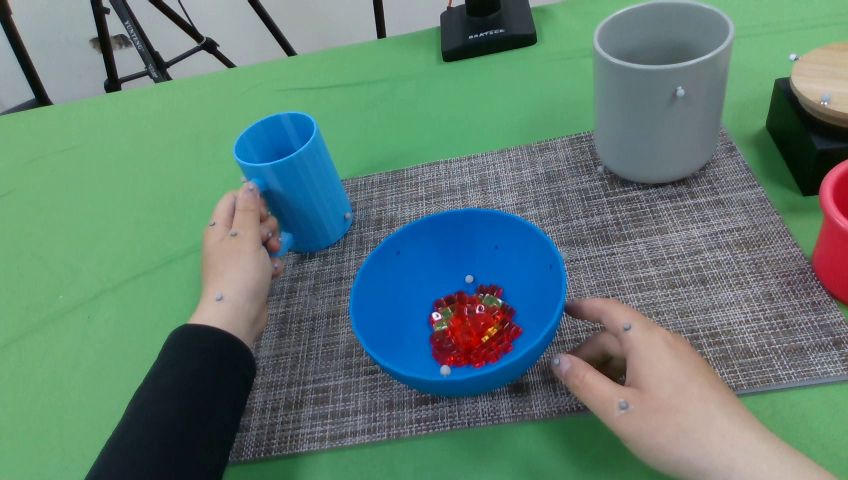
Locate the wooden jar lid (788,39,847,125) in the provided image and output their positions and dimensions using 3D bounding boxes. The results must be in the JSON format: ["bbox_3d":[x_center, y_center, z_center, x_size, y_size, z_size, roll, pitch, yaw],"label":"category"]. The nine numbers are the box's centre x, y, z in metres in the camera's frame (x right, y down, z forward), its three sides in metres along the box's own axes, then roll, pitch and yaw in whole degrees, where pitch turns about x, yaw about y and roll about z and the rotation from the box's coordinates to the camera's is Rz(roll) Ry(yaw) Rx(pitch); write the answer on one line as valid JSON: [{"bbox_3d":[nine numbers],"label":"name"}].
[{"bbox_3d":[0.354,-0.126,0.488,0.108,0.021,0.107,-9,45,10],"label":"wooden jar lid"}]

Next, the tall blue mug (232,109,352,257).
[{"bbox_3d":[-0.119,-0.043,0.550,0.078,0.109,0.106,-9,46,7],"label":"tall blue mug"}]

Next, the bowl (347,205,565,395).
[{"bbox_3d":[0.028,0.054,0.436,0.151,0.077,0.150,-8,45,9],"label":"bowl"}]

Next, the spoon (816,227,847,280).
[{"bbox_3d":[0.344,-0.042,0.392,0.022,0.194,0.041,22,33,-25],"label":"spoon"}]

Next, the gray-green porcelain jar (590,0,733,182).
[{"bbox_3d":[0.198,-0.122,0.520,0.106,0.128,0.105,-8,46,9],"label":"gray-green porcelain jar"}]
